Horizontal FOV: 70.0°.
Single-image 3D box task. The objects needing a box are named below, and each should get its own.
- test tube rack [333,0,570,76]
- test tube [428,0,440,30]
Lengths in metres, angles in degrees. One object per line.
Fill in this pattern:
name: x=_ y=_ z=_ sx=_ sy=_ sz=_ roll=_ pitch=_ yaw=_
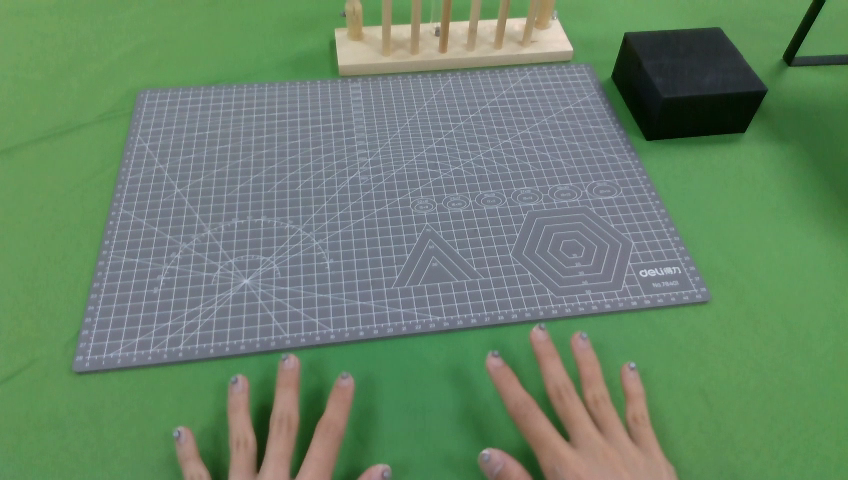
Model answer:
test tube rack: x=0.029 y=-0.228 z=0.611 sx=0.243 sy=0.086 sz=0.066 roll=-6 pitch=51 yaw=-7
test tube: x=0.011 y=-0.272 z=0.582 sx=0.017 sy=0.151 sz=0.017 roll=0 pitch=48 yaw=0
